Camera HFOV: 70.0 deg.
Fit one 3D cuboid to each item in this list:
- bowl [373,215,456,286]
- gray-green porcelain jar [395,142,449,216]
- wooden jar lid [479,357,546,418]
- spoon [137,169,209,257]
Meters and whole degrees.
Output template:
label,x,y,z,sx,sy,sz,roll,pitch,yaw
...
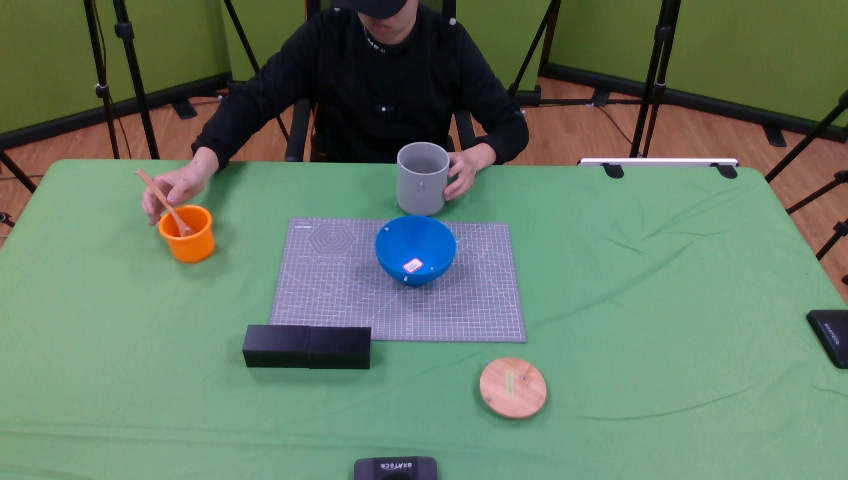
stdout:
label,x,y,z,sx,sy,sz,roll,pitch,yaw
bowl,-0.019,0.032,1.122,0.151,0.077,0.150,2,46,-2
gray-green porcelain jar,-0.007,-0.120,1.241,0.106,0.127,0.105,2,46,-2
wooden jar lid,0.142,0.240,0.979,0.108,0.021,0.107,1,46,-1
spoon,-0.466,-0.051,1.123,0.041,0.194,0.021,-40,16,-33
